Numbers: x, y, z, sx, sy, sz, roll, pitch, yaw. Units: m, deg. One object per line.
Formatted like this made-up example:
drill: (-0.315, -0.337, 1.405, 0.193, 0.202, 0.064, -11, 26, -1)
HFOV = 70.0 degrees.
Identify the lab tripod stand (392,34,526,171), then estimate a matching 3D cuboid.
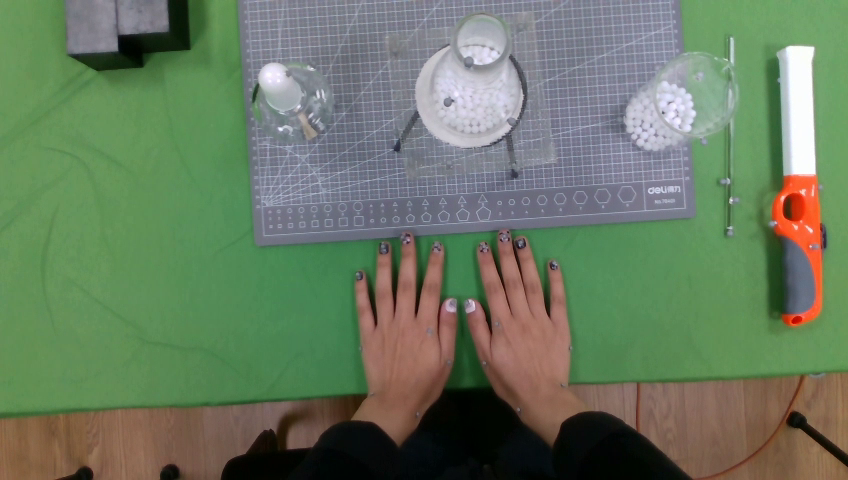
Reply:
lab tripod stand: (0.036, -0.119, 0.554, 0.148, 0.131, 0.148, 0, 91, 1)

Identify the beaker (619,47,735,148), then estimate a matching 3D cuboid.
beaker: (0.234, -0.130, 0.569, 0.084, 0.100, 0.074, -41, 89, 0)

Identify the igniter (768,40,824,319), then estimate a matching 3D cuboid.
igniter: (0.371, -0.060, 0.606, 0.057, 0.025, 0.276, -1, 90, -9)

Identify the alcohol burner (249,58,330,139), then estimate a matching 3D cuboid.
alcohol burner: (-0.129, -0.136, 0.565, 0.078, 0.119, 0.078, 0, 87, 1)

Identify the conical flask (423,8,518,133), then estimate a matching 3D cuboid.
conical flask: (0.035, -0.123, 0.429, 0.075, 0.122, 0.075, 0, 89, 2)

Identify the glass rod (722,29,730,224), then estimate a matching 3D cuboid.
glass rod: (0.308, -0.116, 0.617, 0.008, 0.008, 0.199, 0, 90, 0)

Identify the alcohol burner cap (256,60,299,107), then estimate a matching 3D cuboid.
alcohol burner cap: (-0.130, -0.140, 0.530, 0.034, 0.048, 0.033, 0, 81, -1)

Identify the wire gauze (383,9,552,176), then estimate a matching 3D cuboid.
wire gauze: (0.035, -0.118, 0.489, 0.125, 0.011, 0.121, -8, 92, -2)
